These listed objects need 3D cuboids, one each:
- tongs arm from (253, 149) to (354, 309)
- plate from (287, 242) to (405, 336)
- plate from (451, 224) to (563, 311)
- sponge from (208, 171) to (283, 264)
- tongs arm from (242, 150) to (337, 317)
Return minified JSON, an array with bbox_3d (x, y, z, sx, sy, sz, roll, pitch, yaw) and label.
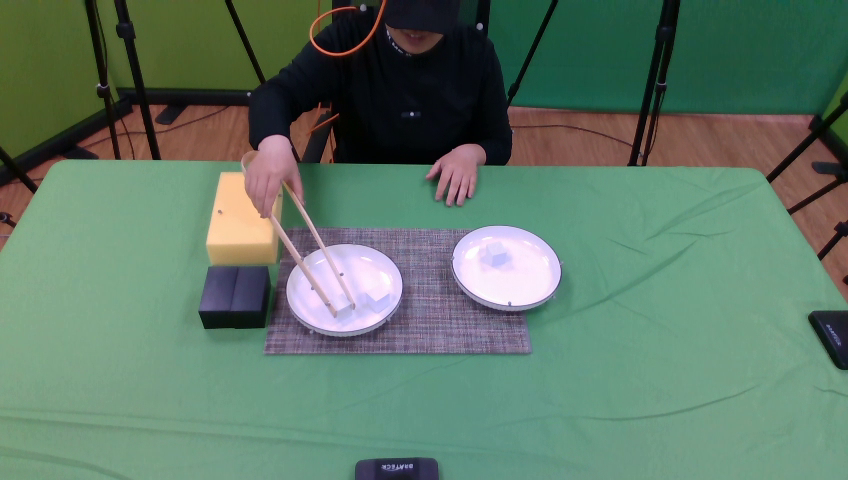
[{"bbox_3d":[-0.222,-0.030,1.102,0.028,0.028,0.385,-25,63,-21],"label":"tongs arm"},{"bbox_3d":[-0.138,0.090,1.085,0.208,0.039,0.206,2,46,-2],"label":"plate"},{"bbox_3d":[0.154,0.053,1.140,0.209,0.038,0.208,2,46,-2],"label":"plate"},{"bbox_3d":[-0.346,-0.048,1.191,0.118,0.061,0.205,-2,46,-7],"label":"sponge"},{"bbox_3d":[-0.241,-0.022,1.092,0.051,0.026,0.383,-28,64,-26],"label":"tongs arm"}]
